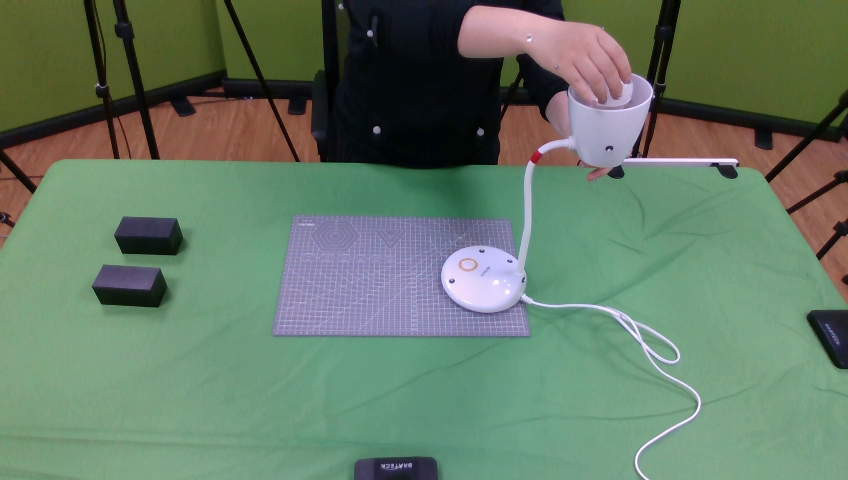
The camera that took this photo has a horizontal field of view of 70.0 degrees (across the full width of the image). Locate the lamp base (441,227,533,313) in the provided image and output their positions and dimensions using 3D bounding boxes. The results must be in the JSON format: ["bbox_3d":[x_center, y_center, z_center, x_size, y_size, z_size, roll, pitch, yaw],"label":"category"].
[{"bbox_3d":[0.126,0.022,1.071,0.179,0.181,0.160,23,49,14],"label":"lamp base"}]

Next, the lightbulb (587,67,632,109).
[{"bbox_3d":[0.256,-0.186,0.840,0.059,0.108,0.059,-7,37,6],"label":"lightbulb"}]

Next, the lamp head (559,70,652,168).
[{"bbox_3d":[0.252,-0.163,0.859,0.112,0.123,0.111,0,43,0],"label":"lamp head"}]
